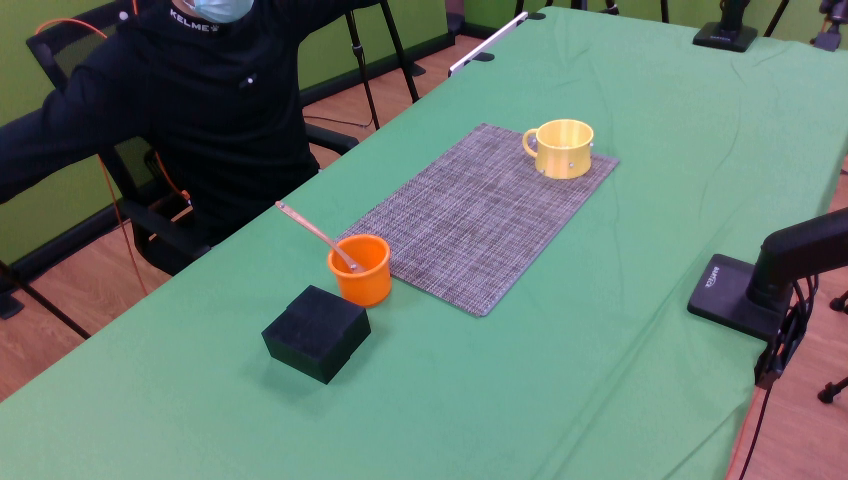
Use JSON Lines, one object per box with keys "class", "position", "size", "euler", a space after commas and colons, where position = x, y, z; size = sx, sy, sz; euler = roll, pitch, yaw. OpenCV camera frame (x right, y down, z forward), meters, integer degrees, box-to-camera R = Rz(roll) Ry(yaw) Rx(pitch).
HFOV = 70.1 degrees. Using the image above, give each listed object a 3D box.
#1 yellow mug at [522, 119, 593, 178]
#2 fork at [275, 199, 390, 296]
{"class": "yellow mug", "position": [0.237, -0.170, 1.092], "size": [0.130, 0.064, 0.100], "euler": [17, 47, 27]}
{"class": "fork", "position": [-0.133, 0.011, 0.876], "size": [0.208, 0.018, 0.028], "euler": [42, 58, -11]}
